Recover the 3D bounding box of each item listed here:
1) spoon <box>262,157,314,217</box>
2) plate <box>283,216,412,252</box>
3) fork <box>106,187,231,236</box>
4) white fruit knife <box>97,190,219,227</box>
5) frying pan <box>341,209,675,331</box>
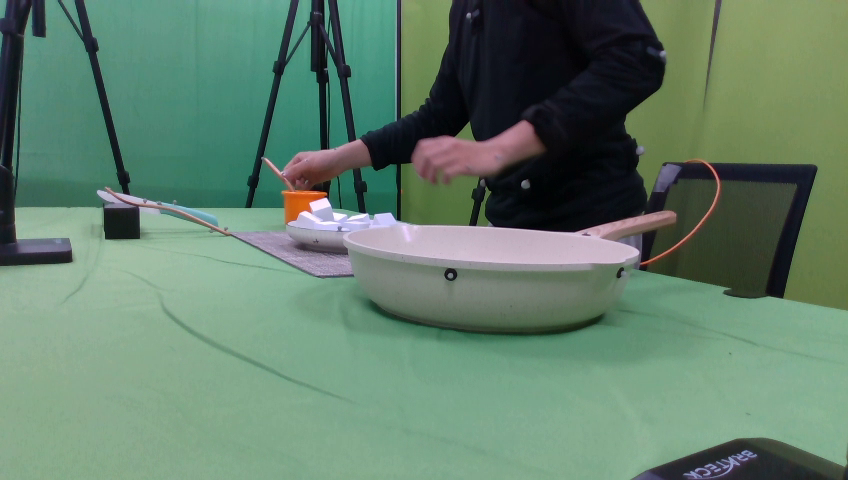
[{"bbox_3d":[-0.276,-0.103,1.251,0.021,0.193,0.042,-42,-15,22],"label":"spoon"},{"bbox_3d":[-0.119,-0.010,0.968,0.208,0.039,0.207,3,7,0],"label":"plate"},{"bbox_3d":[-0.428,-0.046,1.021,0.208,0.018,0.028,19,-7,-26],"label":"fork"},{"bbox_3d":[-0.468,-0.056,1.079,0.208,0.027,0.016,15,-2,-29],"label":"white fruit knife"},{"bbox_3d":[0.144,0.008,0.677,0.490,0.102,0.305,-13,16,-36],"label":"frying pan"}]
